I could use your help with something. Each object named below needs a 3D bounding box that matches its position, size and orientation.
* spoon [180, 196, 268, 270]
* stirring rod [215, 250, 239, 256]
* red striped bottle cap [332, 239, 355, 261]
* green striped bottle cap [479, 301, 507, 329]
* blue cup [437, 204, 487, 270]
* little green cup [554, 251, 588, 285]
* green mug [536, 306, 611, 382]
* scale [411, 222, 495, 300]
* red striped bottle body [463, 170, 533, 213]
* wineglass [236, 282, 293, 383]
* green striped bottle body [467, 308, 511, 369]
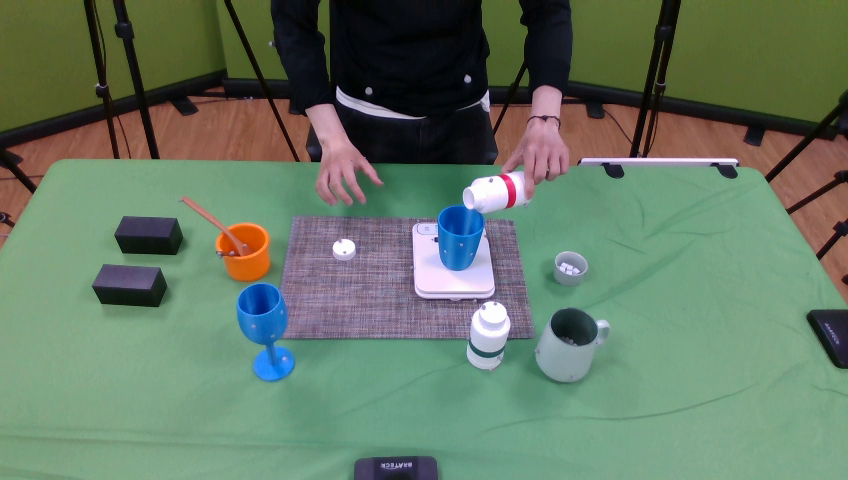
[{"bbox_3d":[-0.360,-0.014,1.094,0.021,0.194,0.041,-28,26,31],"label":"spoon"},{"bbox_3d":[-0.339,0.024,1.059,0.014,0.176,0.006,16,86,-6],"label":"stirring rod"},{"bbox_3d":[-0.155,0.018,1.166,0.044,0.018,0.044,-1,48,1],"label":"red striped bottle cap"},{"bbox_3d":[0.109,0.118,0.950,0.044,0.020,0.044,2,47,-2],"label":"green striped bottle cap"},{"bbox_3d":[0.063,0.001,1.098,0.093,0.101,0.092,2,43,-2],"label":"blue cup"},{"bbox_3d":[0.277,0.055,1.151,0.061,0.039,0.061,1,46,-1],"label":"little green cup"},{"bbox_3d":[0.250,0.167,0.996,0.125,0.105,0.092,-15,49,-19],"label":"green mug"},{"bbox_3d":[0.052,0.031,1.158,0.149,0.032,0.199,1,46,-4],"label":"scale"},{"bbox_3d":[0.128,-0.084,1.067,0.120,0.063,0.062,-14,48,-28],"label":"red striped bottle body"},{"bbox_3d":[-0.243,0.143,0.934,0.074,0.173,0.073,2,46,-2],"label":"wineglass"},{"bbox_3d":[0.106,0.154,0.988,0.063,0.120,0.063,2,46,-2],"label":"green striped bottle body"}]
